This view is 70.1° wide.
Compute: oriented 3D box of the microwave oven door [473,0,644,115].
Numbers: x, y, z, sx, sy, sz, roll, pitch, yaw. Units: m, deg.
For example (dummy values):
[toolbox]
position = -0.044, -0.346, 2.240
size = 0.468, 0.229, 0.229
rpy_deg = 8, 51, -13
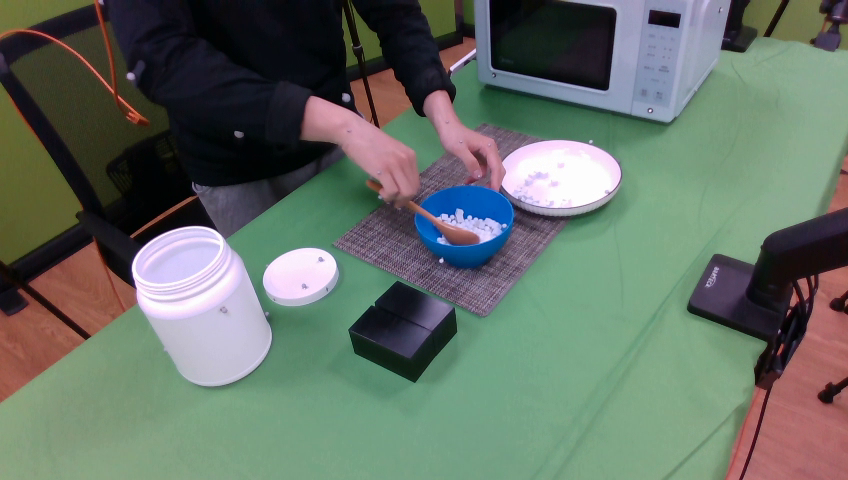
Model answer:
[microwave oven door]
position = 0.257, -0.396, 1.199
size = 0.353, 0.245, 0.039
rpy_deg = 21, 48, 29

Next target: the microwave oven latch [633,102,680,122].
[microwave oven latch]
position = 0.444, -0.249, 1.157
size = 0.078, 0.029, 0.030
rpy_deg = 21, 49, 30

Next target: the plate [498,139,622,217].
[plate]
position = 0.231, -0.103, 1.038
size = 0.209, 0.038, 0.208
rpy_deg = -4, 41, 4

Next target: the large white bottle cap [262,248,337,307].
[large white bottle cap]
position = -0.192, 0.056, 0.934
size = 0.115, 0.018, 0.114
rpy_deg = -4, 41, 4

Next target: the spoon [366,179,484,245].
[spoon]
position = 0.003, -0.039, 0.871
size = 0.194, 0.041, 0.021
rpy_deg = 29, 43, -12

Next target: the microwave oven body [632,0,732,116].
[microwave oven body]
position = 0.377, -0.463, 1.267
size = 0.438, 0.261, 0.327
rpy_deg = 21, 49, 30

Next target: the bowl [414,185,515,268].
[bowl]
position = 0.063, -0.010, 0.922
size = 0.151, 0.077, 0.150
rpy_deg = -4, 40, 4

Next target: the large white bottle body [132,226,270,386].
[large white bottle body]
position = -0.286, 0.085, 0.783
size = 0.130, 0.185, 0.130
rpy_deg = -4, 41, 4
